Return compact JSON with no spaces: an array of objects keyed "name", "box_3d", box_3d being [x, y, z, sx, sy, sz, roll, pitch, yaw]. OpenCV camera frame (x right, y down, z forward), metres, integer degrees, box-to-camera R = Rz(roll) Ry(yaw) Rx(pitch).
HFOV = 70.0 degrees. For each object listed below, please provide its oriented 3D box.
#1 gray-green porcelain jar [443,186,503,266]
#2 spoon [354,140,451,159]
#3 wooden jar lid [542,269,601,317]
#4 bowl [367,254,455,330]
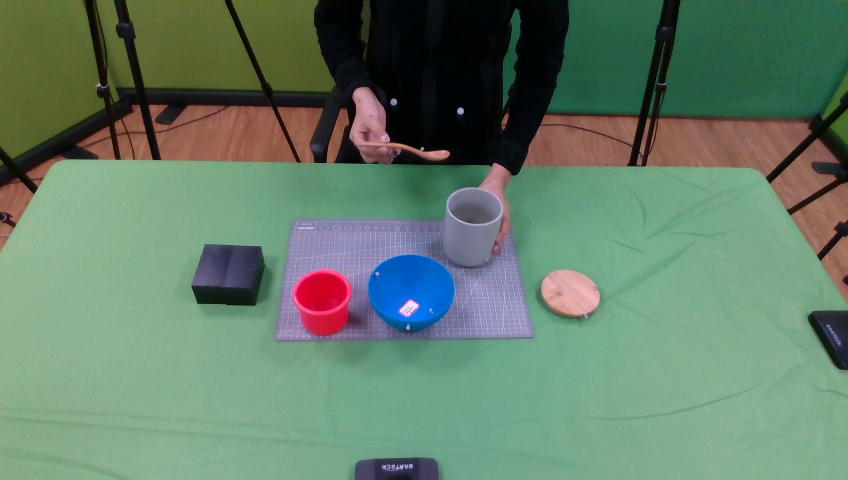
[{"name":"gray-green porcelain jar","box_3d":[0.090,-0.022,1.148,0.106,0.127,0.105,2,47,-2]},{"name":"spoon","box_3d":[-0.036,-0.166,1.085,0.194,0.022,0.041,5,22,-32]},{"name":"wooden jar lid","box_3d":[0.272,0.100,1.121,0.108,0.021,0.107,3,47,-2]},{"name":"bowl","box_3d":[-0.023,0.104,1.052,0.151,0.077,0.150,2,46,-2]}]
